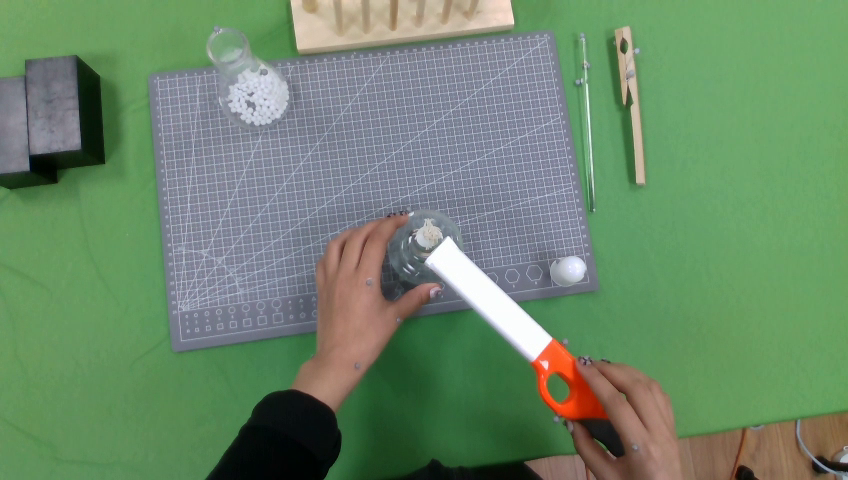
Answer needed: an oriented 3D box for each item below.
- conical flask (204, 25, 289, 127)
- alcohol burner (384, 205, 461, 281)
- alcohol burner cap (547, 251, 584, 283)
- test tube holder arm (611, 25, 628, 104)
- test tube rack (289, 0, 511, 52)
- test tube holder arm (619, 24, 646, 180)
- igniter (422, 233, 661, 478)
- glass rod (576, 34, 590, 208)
[{"bbox_3d":[-0.181,-0.166,0.600,0.075,0.122,0.075,1,82,-3],"label":"conical flask"},{"bbox_3d":[-0.001,0.000,0.593,0.078,0.119,0.077,0,80,-1],"label":"alcohol burner"},{"bbox_3d":[0.150,0.026,0.634,0.034,0.048,0.033,1,81,-3],"label":"alcohol burner cap"},{"bbox_3d":[0.223,-0.198,0.685,0.010,0.015,0.087,-9,83,30],"label":"test tube holder arm"},{"bbox_3d":[-0.025,-0.264,0.645,0.242,0.085,0.066,-8,83,-5],"label":"test tube rack"},{"bbox_3d":[0.232,-0.155,0.677,0.013,0.015,0.178,-10,82,30],"label":"test tube holder arm"},{"bbox_3d":[0.106,0.101,0.528,0.276,0.025,0.057,44,77,-1],"label":"igniter"},{"bbox_3d":[0.178,-0.134,0.677,0.008,0.008,0.199,-1,85,-4],"label":"glass rod"}]
